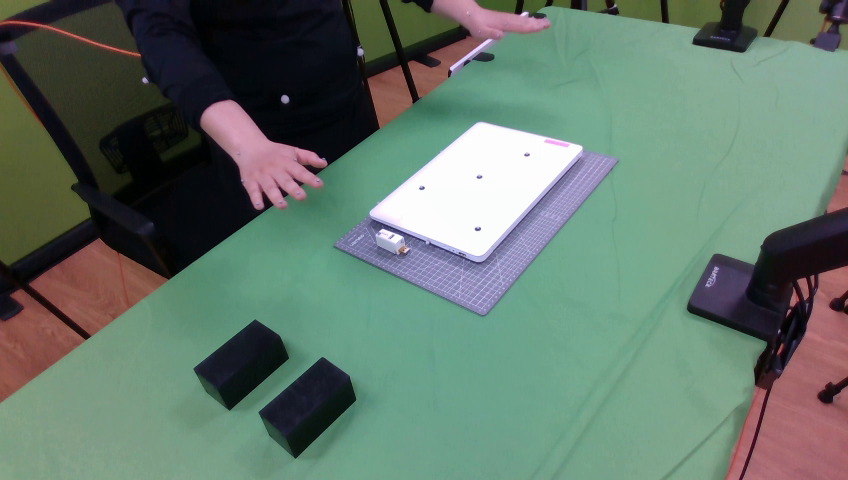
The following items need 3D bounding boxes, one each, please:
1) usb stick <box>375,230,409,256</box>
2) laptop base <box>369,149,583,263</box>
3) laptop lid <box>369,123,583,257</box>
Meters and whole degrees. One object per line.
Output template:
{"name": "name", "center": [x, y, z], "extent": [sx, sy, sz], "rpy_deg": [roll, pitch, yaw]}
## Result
{"name": "usb stick", "center": [-0.049, 0.007, 0.962], "extent": [0.059, 0.027, 0.021], "rpy_deg": [25, 46, 28]}
{"name": "laptop base", "center": [0.101, -0.096, 1.071], "extent": [0.233, 0.023, 0.355], "rpy_deg": [20, 47, 33]}
{"name": "laptop lid", "center": [0.097, -0.106, 1.065], "extent": [0.239, 0.013, 0.358], "rpy_deg": [22, 48, 33]}
